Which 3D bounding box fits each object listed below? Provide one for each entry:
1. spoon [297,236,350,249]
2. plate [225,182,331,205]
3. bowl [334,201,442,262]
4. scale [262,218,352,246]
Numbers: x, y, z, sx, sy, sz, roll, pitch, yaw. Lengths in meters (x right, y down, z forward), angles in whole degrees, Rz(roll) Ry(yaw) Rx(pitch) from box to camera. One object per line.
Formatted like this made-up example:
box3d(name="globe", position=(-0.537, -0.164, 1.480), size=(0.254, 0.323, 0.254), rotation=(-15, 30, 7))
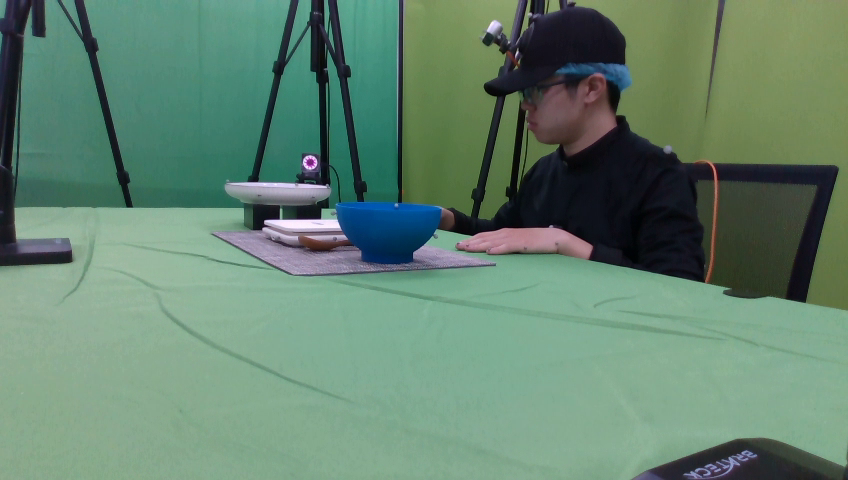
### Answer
box3d(name="spoon", position=(-0.103, 0.002, 0.943), size=(0.195, 0.021, 0.041), rotation=(-2, -6, -30))
box3d(name="plate", position=(-0.294, -0.096, 1.229), size=(0.209, 0.038, 0.209), rotation=(3, 7, 0))
box3d(name="bowl", position=(-0.051, -0.012, 0.848), size=(0.151, 0.077, 0.151), rotation=(2, 7, 0))
box3d(name="scale", position=(-0.160, -0.016, 1.028), size=(0.202, 0.031, 0.148), rotation=(-2, 8, -32))
